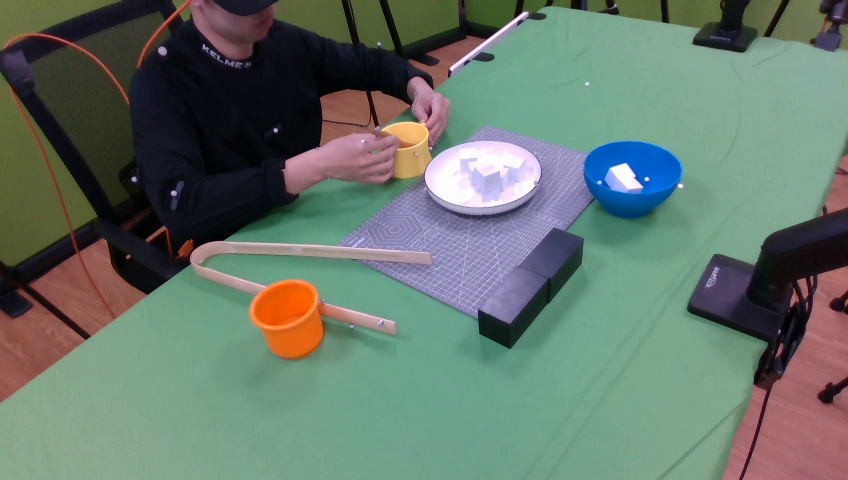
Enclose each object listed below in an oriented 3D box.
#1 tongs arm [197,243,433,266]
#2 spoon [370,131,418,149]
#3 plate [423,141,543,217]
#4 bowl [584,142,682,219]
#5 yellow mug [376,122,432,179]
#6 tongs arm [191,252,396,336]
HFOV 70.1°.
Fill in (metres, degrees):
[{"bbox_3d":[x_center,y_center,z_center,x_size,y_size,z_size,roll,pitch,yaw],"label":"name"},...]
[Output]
[{"bbox_3d":[-0.177,0.026,0.961,0.386,0.028,0.028,2,44,12],"label":"tongs arm"},{"bbox_3d":[-0.056,-0.178,1.083,0.041,0.021,0.195,-16,-7,19],"label":"spoon"},{"bbox_3d":[0.103,-0.103,1.059,0.207,0.039,0.206,-4,40,4],"label":"plate"},{"bbox_3d":[0.333,-0.087,0.980,0.151,0.077,0.150,-4,40,3],"label":"bowl"},{"bbox_3d":[-0.027,-0.179,1.149,0.099,0.064,0.131,23,49,31],"label":"yellow mug"},{"bbox_3d":[-0.204,0.075,0.902,0.382,0.026,0.051,10,43,22],"label":"tongs arm"}]
